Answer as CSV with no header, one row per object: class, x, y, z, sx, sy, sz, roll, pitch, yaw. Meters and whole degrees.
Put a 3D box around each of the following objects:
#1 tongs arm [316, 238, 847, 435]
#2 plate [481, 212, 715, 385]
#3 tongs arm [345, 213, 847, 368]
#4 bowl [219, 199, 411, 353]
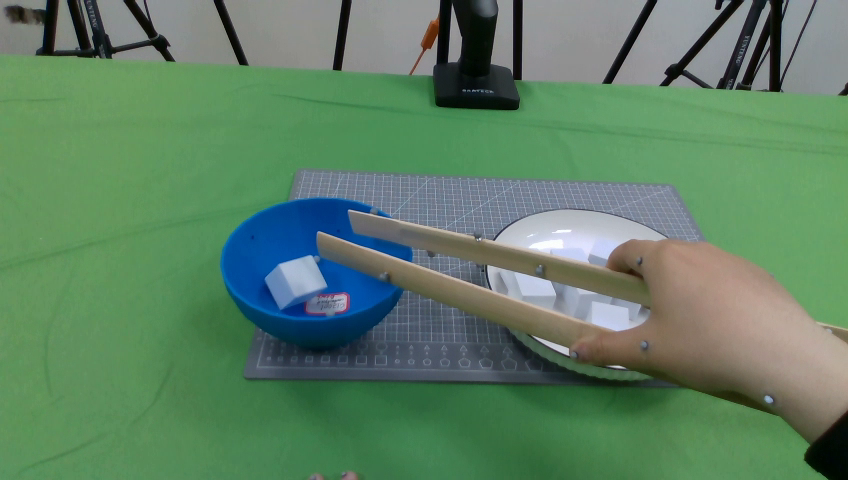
tongs arm,0.086,0.052,0.394,0.385,0.028,0.028,15,37,25
plate,0.153,0.051,0.551,0.208,0.039,0.205,3,39,-2
tongs arm,0.099,0.037,0.412,0.382,0.027,0.050,12,39,23
bowl,-0.087,0.040,0.505,0.151,0.077,0.150,3,39,-2
